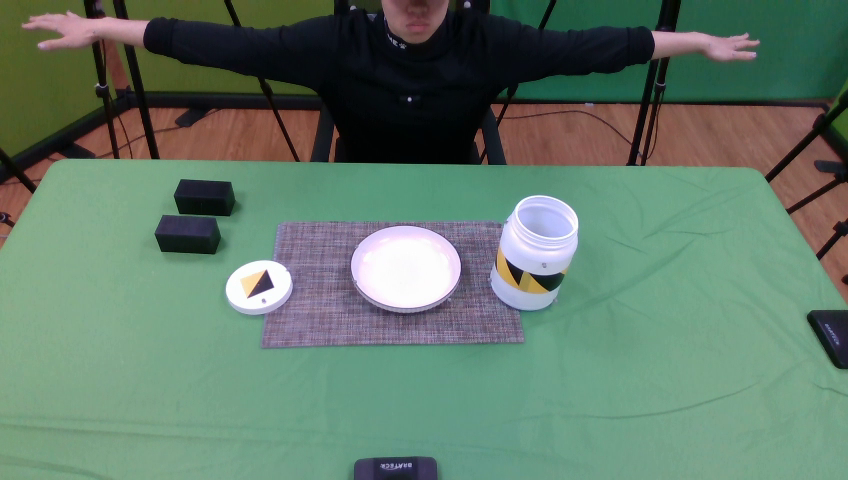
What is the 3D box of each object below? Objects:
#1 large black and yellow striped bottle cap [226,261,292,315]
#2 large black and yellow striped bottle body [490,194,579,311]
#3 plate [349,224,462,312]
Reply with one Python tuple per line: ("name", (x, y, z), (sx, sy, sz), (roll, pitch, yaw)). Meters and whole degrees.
("large black and yellow striped bottle cap", (-0.298, 0.085, 1.092), (0.115, 0.019, 0.114), (0, 45, 1))
("large black and yellow striped bottle body", (0.196, 0.022, 1.073), (0.131, 0.185, 0.130), (4, 46, -4))
("plate", (-0.035, 0.054, 1.126), (0.208, 0.039, 0.206), (2, 46, -2))
